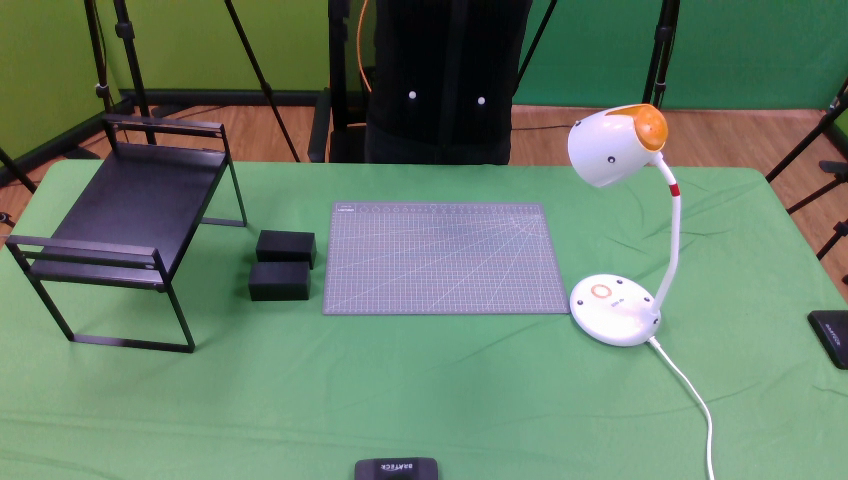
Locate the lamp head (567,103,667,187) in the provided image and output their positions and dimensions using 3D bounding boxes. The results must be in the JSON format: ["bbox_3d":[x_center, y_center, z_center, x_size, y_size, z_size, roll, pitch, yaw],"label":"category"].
[{"bbox_3d":[0.289,-0.142,0.876,0.113,0.122,0.112,5,81,-30],"label":"lamp head"}]

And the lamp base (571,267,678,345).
[{"bbox_3d":[0.359,0.076,1.038,0.160,0.181,0.178,-34,59,-30],"label":"lamp base"}]

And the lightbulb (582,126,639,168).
[{"bbox_3d":[0.279,-0.143,0.899,0.060,0.107,0.059,3,81,-20],"label":"lightbulb"}]
